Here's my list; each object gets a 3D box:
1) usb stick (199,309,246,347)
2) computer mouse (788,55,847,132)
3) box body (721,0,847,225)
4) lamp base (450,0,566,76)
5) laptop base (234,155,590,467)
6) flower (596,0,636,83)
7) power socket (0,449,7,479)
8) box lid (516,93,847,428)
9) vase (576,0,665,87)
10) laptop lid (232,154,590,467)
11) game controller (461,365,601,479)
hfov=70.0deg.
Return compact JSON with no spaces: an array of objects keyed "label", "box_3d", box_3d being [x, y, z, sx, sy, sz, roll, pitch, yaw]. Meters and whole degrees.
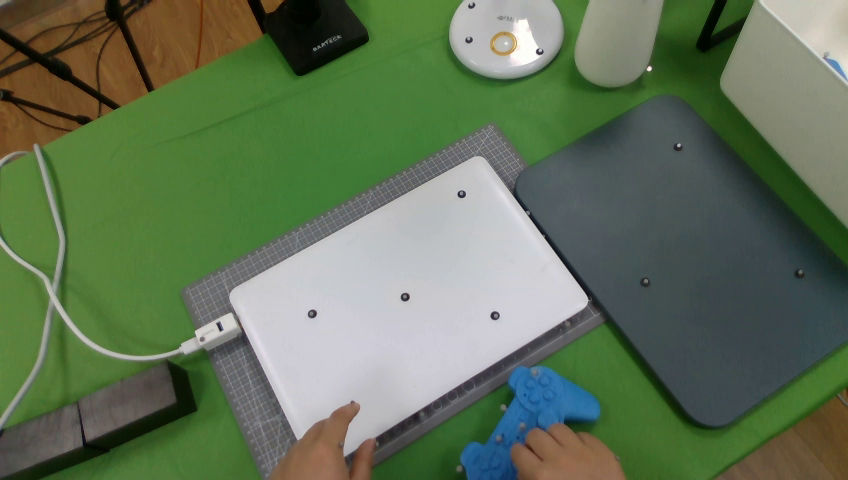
[{"label":"usb stick","box_3d":[-0.223,0.097,0.691,0.059,0.027,0.021,-26,66,-13]},{"label":"computer mouse","box_3d":[0.498,-0.189,0.760,0.062,0.041,0.116,5,63,10]},{"label":"box body","box_3d":[0.557,-0.157,0.680,0.254,0.161,0.361,-27,67,-7]},{"label":"lamp base","box_3d":[0.112,-0.338,0.785,0.160,0.182,0.178,1,63,5]},{"label":"laptop base","box_3d":[-0.018,0.067,0.703,0.354,0.023,0.234,-30,71,-9]},{"label":"flower","box_3d":[0.254,-0.323,0.667,0.038,0.364,0.043,-14,55,-20]},{"label":"power socket","box_3d":[-0.527,0.198,0.676,0.072,0.033,0.224,-27,66,-9]},{"label":"box lid","box_3d":[0.307,0.000,0.712,0.263,0.015,0.368,-30,68,-10]},{"label":"vase","box_3d":[0.243,-0.280,0.738,0.098,0.201,0.097,-2,65,6]},{"label":"laptop lid","box_3d":[-0.018,0.064,0.692,0.357,0.013,0.239,-28,69,-8]},{"label":"game controller","box_3d":[0.108,0.201,0.620,0.096,0.052,0.155,30,71,21]}]
